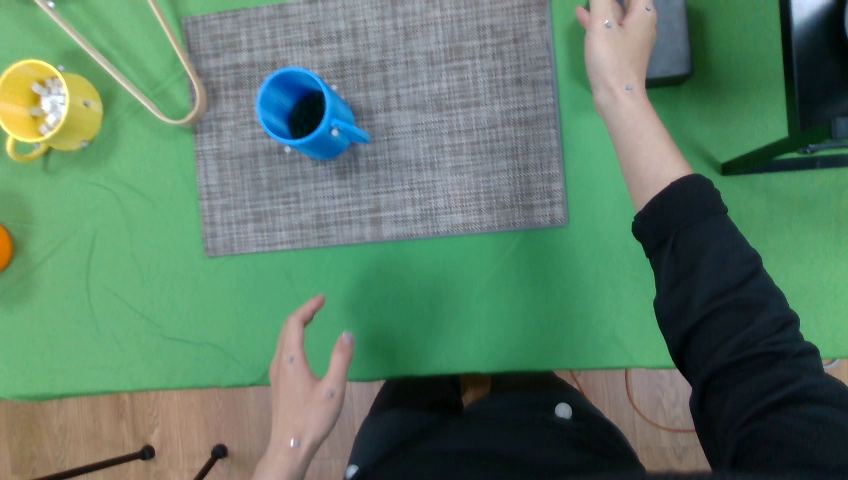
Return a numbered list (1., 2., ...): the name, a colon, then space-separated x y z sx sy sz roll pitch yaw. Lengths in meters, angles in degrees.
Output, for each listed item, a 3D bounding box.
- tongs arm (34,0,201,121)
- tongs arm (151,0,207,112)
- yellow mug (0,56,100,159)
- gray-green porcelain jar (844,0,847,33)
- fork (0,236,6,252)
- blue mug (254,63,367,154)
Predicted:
1. tongs arm: -0.432 -0.282 0.743 0.051 0.026 0.385 -44 93 2
2. tongs arm: -0.366 -0.334 0.739 0.028 0.027 0.388 -30 94 -3
3. yellow mug: -0.479 -0.157 0.756 0.100 0.064 0.131 34 95 5
4. gray-green porcelain jar: 0.390 -0.189 0.447 0.106 0.126 0.106 0 91 7
5. fork: -0.632 -0.004 0.733 0.209 0.018 0.028 7 90 -37
6. blue mug: -0.120 -0.141 0.692 0.116 0.106 0.082 21 93 6
